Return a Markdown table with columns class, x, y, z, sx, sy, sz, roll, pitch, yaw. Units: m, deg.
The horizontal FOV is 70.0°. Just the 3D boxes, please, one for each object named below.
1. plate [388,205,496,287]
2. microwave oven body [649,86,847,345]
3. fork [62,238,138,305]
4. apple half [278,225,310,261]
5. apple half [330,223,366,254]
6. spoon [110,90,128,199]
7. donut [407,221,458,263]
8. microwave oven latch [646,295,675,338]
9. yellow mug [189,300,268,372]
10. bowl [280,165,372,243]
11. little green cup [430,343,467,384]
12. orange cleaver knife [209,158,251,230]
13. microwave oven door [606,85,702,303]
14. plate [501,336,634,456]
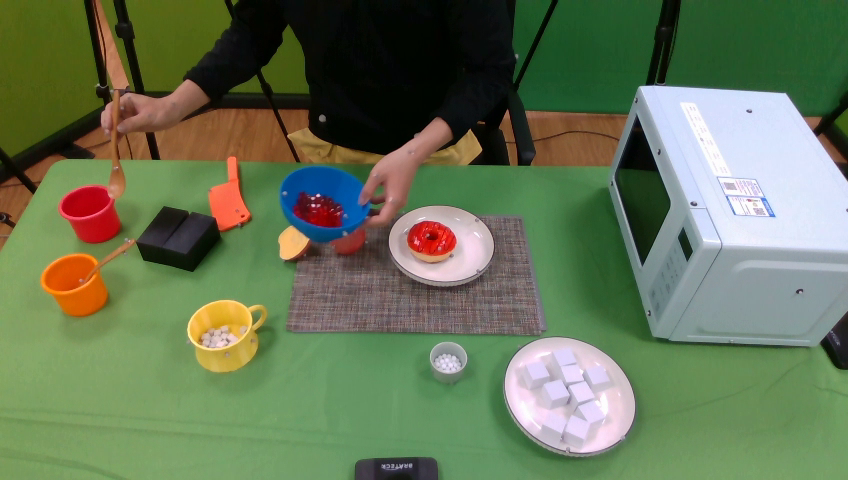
| class | x | y | z | sx | sy | sz | roll | pitch | yaw |
| --- | --- | --- | --- | --- | --- | --- | --- | --- | --- |
| plate | 0.033 | 0.014 | 1.171 | 0.209 | 0.038 | 0.208 | 2 | 46 | -2 |
| microwave oven body | 0.568 | -0.053 | 1.118 | 0.326 | 0.261 | 0.439 | 2 | 45 | -1 |
| fork | -0.547 | 0.053 | 1.018 | 0.207 | 0.019 | 0.028 | -36 | 41 | 23 |
| apple half | -0.241 | 0.007 | 1.157 | 0.081 | 0.033 | 0.081 | -17 | 54 | 25 |
| apple half | -0.139 | -0.009 | 1.157 | 0.053 | 0.075 | 0.080 | 17 | 43 | 8 |
| spoon | -0.546 | -0.168 | 1.083 | 0.041 | 0.194 | 0.021 | 15 | 19 | 24 |
| donut | 0.016 | 0.002 | 1.166 | 0.099 | 0.048 | 0.098 | 2 | 43 | -2 |
| microwave oven latch | 0.412 | 0.134 | 1.061 | 0.030 | 0.029 | 0.078 | 4 | 45 | 1 |
| yellow mug | -0.316 | 0.148 | 1.002 | 0.131 | 0.064 | 0.099 | -32 | 55 | -31 |
| bowl | -0.170 | -0.049 | 1.027 | 0.152 | 0.077 | 0.150 | 10 | 46 | -11 |
| little green cup | 0.039 | 0.203 | 0.994 | 0.061 | 0.039 | 0.061 | 2 | 46 | -2 |
| orange cleaver knife | -0.409 | -0.098 | 1.266 | 0.077 | 0.012 | 0.210 | -13 | 49 | -10 |
| microwave oven door | 0.423 | -0.094 | 1.140 | 0.039 | 0.245 | 0.353 | 2 | 46 | -1 |
| plate | 0.225 | 0.248 | 0.964 | 0.208 | 0.039 | 0.206 | 2 | 46 | -2 |
